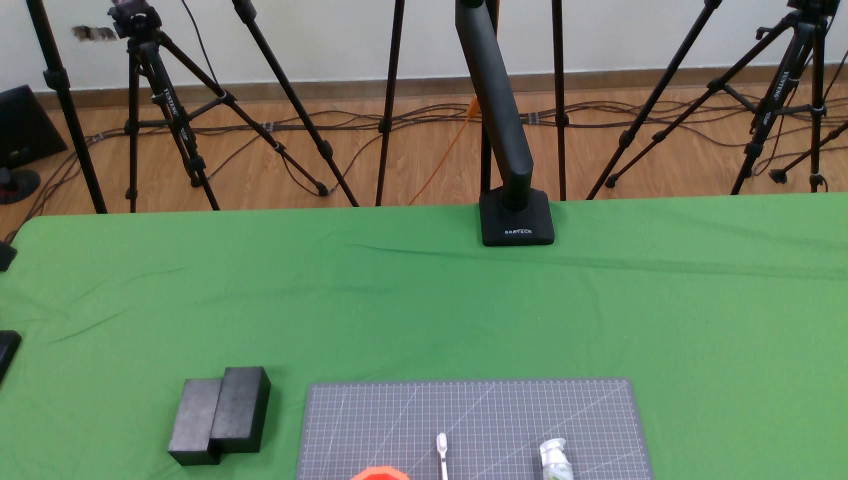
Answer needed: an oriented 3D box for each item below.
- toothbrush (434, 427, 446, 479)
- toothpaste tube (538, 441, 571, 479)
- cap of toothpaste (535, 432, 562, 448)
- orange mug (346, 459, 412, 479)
[{"bbox_3d":[0.027,0.317,0.741,0.014,0.017,0.180,5,51,-13],"label":"toothbrush"},{"bbox_3d":[0.161,0.323,0.725,0.055,0.035,0.163,-6,55,6],"label":"toothpaste tube"},{"bbox_3d":[0.160,0.256,0.772,0.037,0.038,0.011,-11,49,-7],"label":"cap of toothpaste"},{"bbox_3d":[-0.039,0.322,0.688,0.083,0.102,0.125,-29,51,-20],"label":"orange mug"}]
